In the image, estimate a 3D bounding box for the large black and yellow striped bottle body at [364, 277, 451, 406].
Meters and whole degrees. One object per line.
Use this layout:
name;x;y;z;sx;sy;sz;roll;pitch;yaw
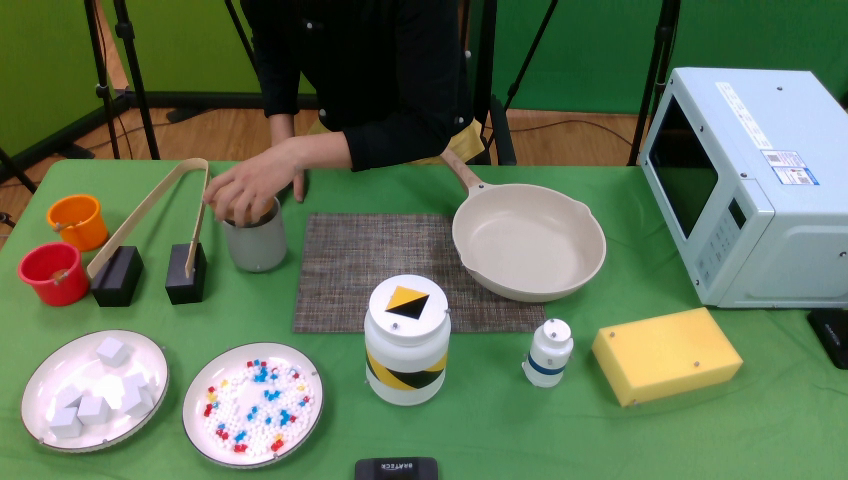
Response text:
large black and yellow striped bottle body;-0.026;0.155;0.933;0.131;0.185;0.130;2;47;-2

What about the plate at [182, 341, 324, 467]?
plate;-0.257;0.250;0.927;0.209;0.038;0.208;3;46;-3

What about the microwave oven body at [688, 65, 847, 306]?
microwave oven body;0.669;-0.111;1.176;0.326;0.261;0.439;0;46;-3

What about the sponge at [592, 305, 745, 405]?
sponge;0.405;0.189;1.014;0.207;0.061;0.117;-10;48;-12

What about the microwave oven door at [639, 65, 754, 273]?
microwave oven door;0.522;-0.147;1.193;0.039;0.245;0.353;0;47;-3

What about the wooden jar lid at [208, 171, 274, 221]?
wooden jar lid;-0.311;-0.073;1.032;0.108;0.021;0.107;8;50;-9

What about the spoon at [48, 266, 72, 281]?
spoon;-0.609;0.057;1.010;0.041;0.022;0.193;-32;13;-27

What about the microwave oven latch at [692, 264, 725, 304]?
microwave oven latch;0.522;0.081;1.116;0.030;0.029;0.078;1;46;-2

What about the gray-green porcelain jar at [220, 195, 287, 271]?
gray-green porcelain jar;-0.310;-0.014;1.113;0.106;0.127;0.105;2;46;-2

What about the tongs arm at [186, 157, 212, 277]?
tongs arm;-0.445;-0.058;1.168;0.051;0.026;0.382;-5;37;-6

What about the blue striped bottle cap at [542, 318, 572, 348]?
blue striped bottle cap;0.205;0.143;0.933;0.044;0.021;0.044;0;47;1

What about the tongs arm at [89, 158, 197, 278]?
tongs arm;-0.530;-0.057;1.164;0.028;0.028;0.385;1;36;8

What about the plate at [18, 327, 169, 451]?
plate;-0.498;0.229;0.929;0.208;0.039;0.206;3;47;-2

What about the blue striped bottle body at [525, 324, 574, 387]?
blue striped bottle body;0.202;0.179;0.970;0.063;0.121;0.062;2;46;-2

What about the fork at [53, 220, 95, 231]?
fork;-0.627;-0.026;1.086;0.028;0.018;0.207;0;2;-15

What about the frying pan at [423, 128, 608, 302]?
frying pan;0.142;-0.069;1.208;0.307;0.103;0.485;-23;60;-25

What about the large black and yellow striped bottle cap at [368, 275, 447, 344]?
large black and yellow striped bottle cap;-0.024;0.098;0.871;0.115;0.019;0.114;2;45;-2
